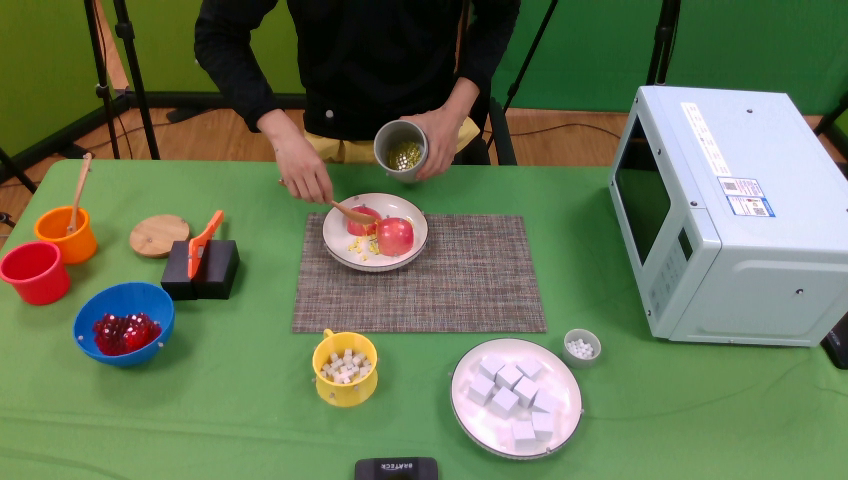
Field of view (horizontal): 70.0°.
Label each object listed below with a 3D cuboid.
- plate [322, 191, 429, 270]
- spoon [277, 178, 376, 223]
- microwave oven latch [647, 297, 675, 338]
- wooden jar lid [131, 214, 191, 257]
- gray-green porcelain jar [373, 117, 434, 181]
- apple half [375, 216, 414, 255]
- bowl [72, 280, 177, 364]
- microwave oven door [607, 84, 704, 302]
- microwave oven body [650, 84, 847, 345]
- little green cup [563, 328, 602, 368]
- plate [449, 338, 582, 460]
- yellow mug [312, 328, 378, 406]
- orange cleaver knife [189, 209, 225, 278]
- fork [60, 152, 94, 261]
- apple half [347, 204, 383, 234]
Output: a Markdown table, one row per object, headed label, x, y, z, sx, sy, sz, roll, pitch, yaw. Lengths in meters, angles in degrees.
| label | x | y | z | sx | sy | sz | roll | pitch | yaw |
| --- | --- | --- | --- | --- | --- | --- | --- | --- | --- |
| plate | -0.093 | -0.015 | 1.185 | 0.209 | 0.038 | 0.208 | 2 | 46 | -2 |
| spoon | -0.176 | -0.072 | 1.105 | 0.194 | 0.041 | 0.021 | 26 | 64 | -19 |
| microwave oven latch | 0.413 | 0.133 | 1.060 | 0.030 | 0.029 | 0.078 | 5 | 46 | 2 |
| wooden jar lid | -0.504 | -0.008 | 1.167 | 0.108 | 0.021 | 0.107 | 3 | 46 | -3 |
| gray-green porcelain jar | -0.037 | -0.177 | 1.219 | 0.106 | 0.127 | 0.105 | -1 | 84 | 9 |
| apple half | -0.056 | -0.017 | 1.169 | 0.075 | 0.053 | 0.080 | 0 | 45 | -7 |
| bowl | -0.473 | 0.147 | 0.982 | 0.151 | 0.077 | 0.150 | 2 | 46 | -2 |
| microwave oven door | 0.424 | -0.096 | 1.138 | 0.039 | 0.245 | 0.353 | 3 | 46 | -1 |
| microwave oven body | 0.569 | -0.054 | 1.116 | 0.326 | 0.261 | 0.439 | 2 | 46 | -1 |
| little green cup | 0.265 | 0.184 | 1.025 | 0.061 | 0.039 | 0.061 | 1 | 46 | -1 |
| plate | 0.141 | 0.251 | 0.956 | 0.208 | 0.039 | 0.206 | 2 | 46 | -2 |
| yellow mug | -0.132 | 0.193 | 0.971 | 0.100 | 0.064 | 0.130 | -22 | 51 | -22 |
| orange cleaver knife | -0.401 | 0.002 | 1.122 | 0.012 | 0.077 | 0.210 | 3 | 22 | -4 |
| fork | -0.638 | -0.063 | 1.119 | 0.028 | 0.018 | 0.207 | 12 | 90 | 8 |
| apple half | -0.118 | -0.049 | 1.207 | 0.081 | 0.033 | 0.081 | 2 | 49 | -2 |
